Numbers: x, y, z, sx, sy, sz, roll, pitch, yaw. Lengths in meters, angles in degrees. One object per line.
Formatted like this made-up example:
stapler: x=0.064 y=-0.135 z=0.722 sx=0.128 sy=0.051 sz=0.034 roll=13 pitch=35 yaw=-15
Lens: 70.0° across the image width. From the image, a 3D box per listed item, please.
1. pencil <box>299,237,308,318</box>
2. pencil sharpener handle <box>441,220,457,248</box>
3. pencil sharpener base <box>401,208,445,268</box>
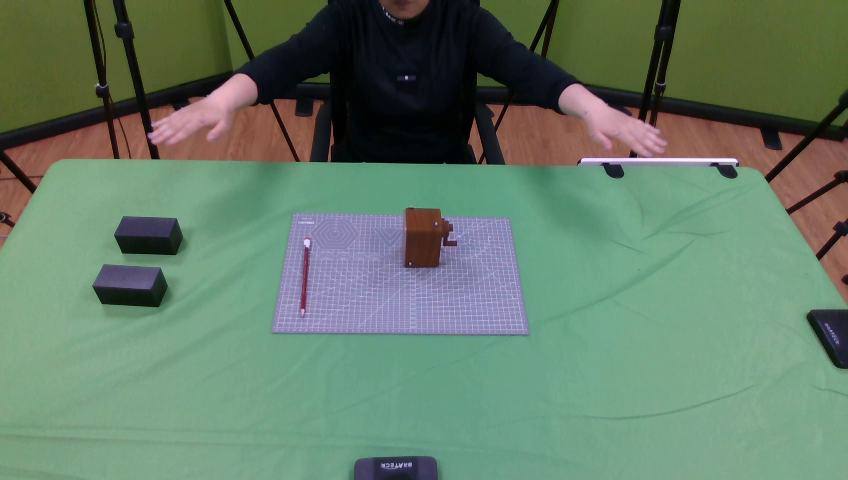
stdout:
pencil: x=-0.223 y=0.066 z=1.120 sx=0.012 sy=0.012 sz=0.192 roll=-2 pitch=47 yaw=-6
pencil sharpener handle: x=0.049 y=-0.012 z=1.132 sx=0.031 sy=0.068 sz=0.036 roll=0 pitch=46 yaw=-5
pencil sharpener base: x=-0.003 y=-0.003 z=1.137 sx=0.077 sy=0.107 sz=0.061 roll=0 pitch=45 yaw=-5
